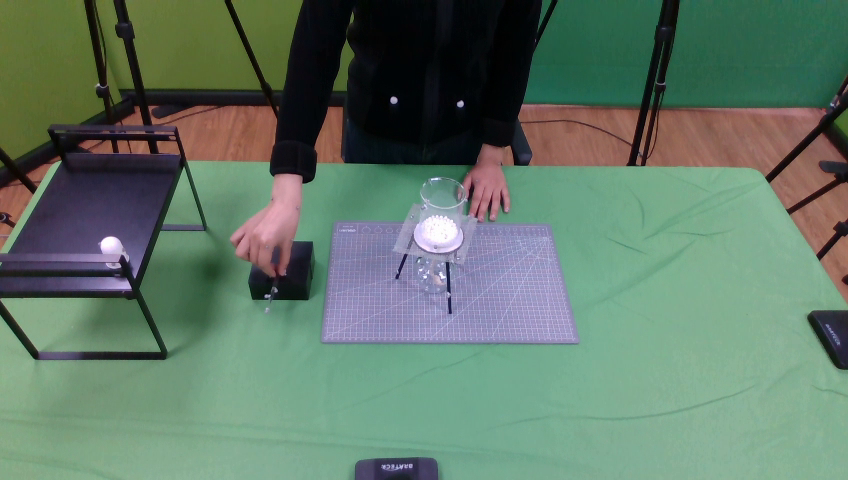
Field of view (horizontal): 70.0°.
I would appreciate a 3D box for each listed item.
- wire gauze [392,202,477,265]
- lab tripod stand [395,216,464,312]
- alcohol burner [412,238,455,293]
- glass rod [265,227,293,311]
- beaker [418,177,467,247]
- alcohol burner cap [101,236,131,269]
[{"bbox_3d":[0.021,-0.011,1.038,0.121,0.011,0.124,13,49,8],"label":"wire gauze"},{"bbox_3d":[0.023,0.037,1.084,0.148,0.132,0.147,3,47,-3],"label":"lab tripod stand"},{"bbox_3d":[0.019,0.040,1.094,0.078,0.119,0.077,3,45,-3],"label":"alcohol burner"},{"bbox_3d":[-0.257,0.047,1.075,0.008,0.008,0.198,4,45,0],"label":"glass rod"},{"bbox_3d":[0.026,-0.045,1.004,0.074,0.101,0.083,-20,51,-22],"label":"beaker"},{"bbox_3d":[-0.452,0.016,0.883,0.034,0.048,0.033,2,47,-1],"label":"alcohol burner cap"}]
